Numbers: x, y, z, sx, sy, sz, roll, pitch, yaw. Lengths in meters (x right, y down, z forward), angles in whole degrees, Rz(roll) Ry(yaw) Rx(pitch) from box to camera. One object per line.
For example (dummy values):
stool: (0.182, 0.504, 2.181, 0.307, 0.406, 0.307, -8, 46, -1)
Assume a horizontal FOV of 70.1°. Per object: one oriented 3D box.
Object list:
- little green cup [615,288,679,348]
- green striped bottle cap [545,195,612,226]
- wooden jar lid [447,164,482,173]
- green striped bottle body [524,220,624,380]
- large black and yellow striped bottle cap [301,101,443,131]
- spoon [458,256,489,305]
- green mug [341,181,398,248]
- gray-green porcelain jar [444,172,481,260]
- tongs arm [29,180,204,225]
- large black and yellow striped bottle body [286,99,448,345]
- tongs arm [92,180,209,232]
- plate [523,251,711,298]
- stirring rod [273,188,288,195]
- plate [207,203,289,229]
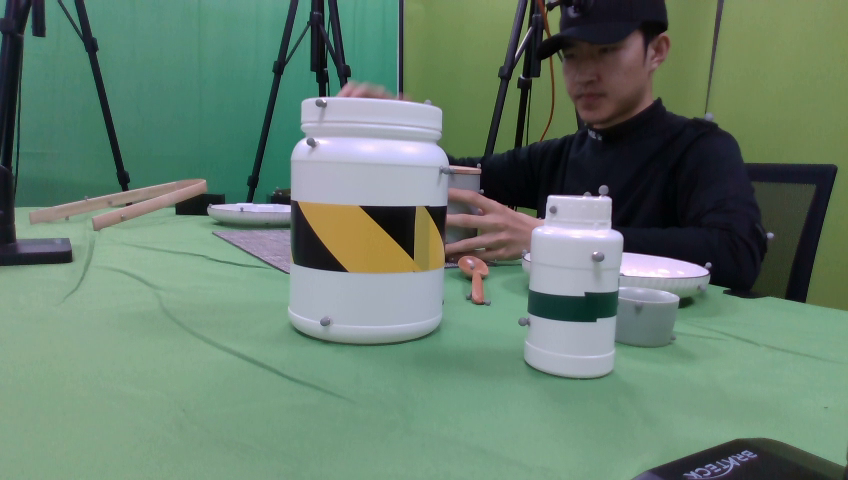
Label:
little green cup: (0.180, 0.064, 0.506, 0.061, 0.038, 0.061, 1, 8, 0)
green striped bottle cap: (0.106, -0.020, 0.414, 0.044, 0.020, 0.044, 2, 4, 0)
wooden jar lid: (0.030, -0.100, 0.885, 0.108, 0.020, 0.108, 5, 10, -1)
green striped bottle body: (0.104, 0.031, 0.422, 0.063, 0.119, 0.063, 2, 8, 0)
large black and yellow striped bottle cap: (-0.042, -0.100, 0.491, 0.115, 0.019, 0.115, 1, 8, 0)
spoon: (0.059, 0.044, 0.696, 0.041, 0.021, 0.194, 20, 7, 0)
green mug: (-0.090, -0.044, 0.996, 0.093, 0.105, 0.125, 0, 6, -9)
gray-green porcelain jar: (0.028, -0.037, 0.892, 0.106, 0.126, 0.106, 2, 7, 0)
tongs arm: (-0.609, -0.083, 1.245, 0.050, 0.026, 0.386, 5, 16, 23)
large black and yellow striped bottle body: (-0.047, -0.018, 0.501, 0.131, 0.184, 0.130, 2, 7, 0)
tongs arm: (-0.534, -0.075, 1.222, 0.028, 0.028, 0.388, -2, 15, 12)
plate: (0.219, 0.042, 0.706, 0.209, 0.038, 0.209, 2, 7, 0)
stirring rod: (-0.353, -0.122, 1.519, 0.006, 0.014, 0.176, 1, 6, 1)
plate: (-0.342, -0.050, 1.259, 0.208, 0.039, 0.207, 2, 7, 0)
